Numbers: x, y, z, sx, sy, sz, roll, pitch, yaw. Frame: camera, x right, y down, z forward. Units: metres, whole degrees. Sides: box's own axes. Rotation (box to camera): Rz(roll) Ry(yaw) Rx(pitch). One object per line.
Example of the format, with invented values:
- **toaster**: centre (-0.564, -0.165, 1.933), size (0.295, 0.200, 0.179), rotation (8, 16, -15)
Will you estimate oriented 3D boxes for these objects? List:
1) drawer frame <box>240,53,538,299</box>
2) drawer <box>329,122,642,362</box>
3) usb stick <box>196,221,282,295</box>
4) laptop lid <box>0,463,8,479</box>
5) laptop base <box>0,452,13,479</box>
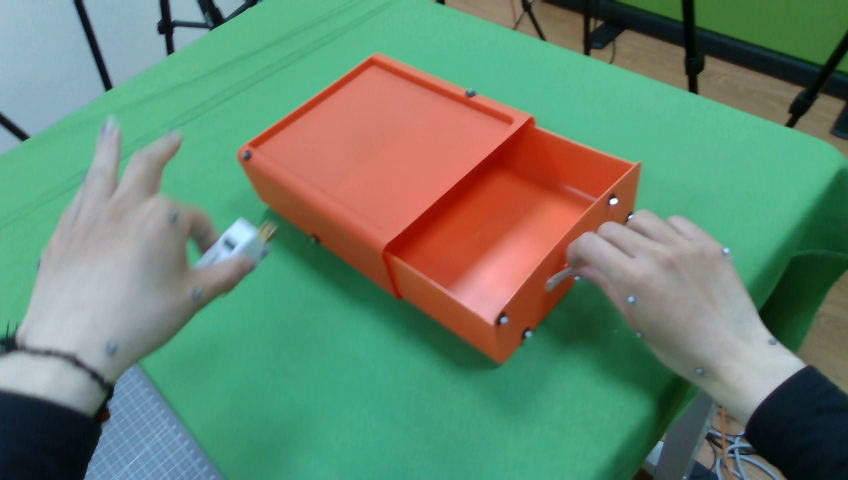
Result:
- **drawer frame**: centre (-0.032, -0.074, 0.588), size (0.211, 0.083, 0.201), rotation (31, 63, 33)
- **drawer**: centre (0.047, -0.027, 0.532), size (0.210, 0.074, 0.194), rotation (31, 63, 32)
- **usb stick**: centre (-0.125, 0.007, 0.419), size (0.021, 0.027, 0.059), rotation (32, 69, 31)
- **laptop lid**: centre (-0.443, 0.285, 0.397), size (0.356, 0.013, 0.239), rotation (-39, 55, -20)
- **laptop base**: centre (-0.443, 0.291, 0.408), size (0.354, 0.023, 0.233), rotation (-41, 57, -21)
